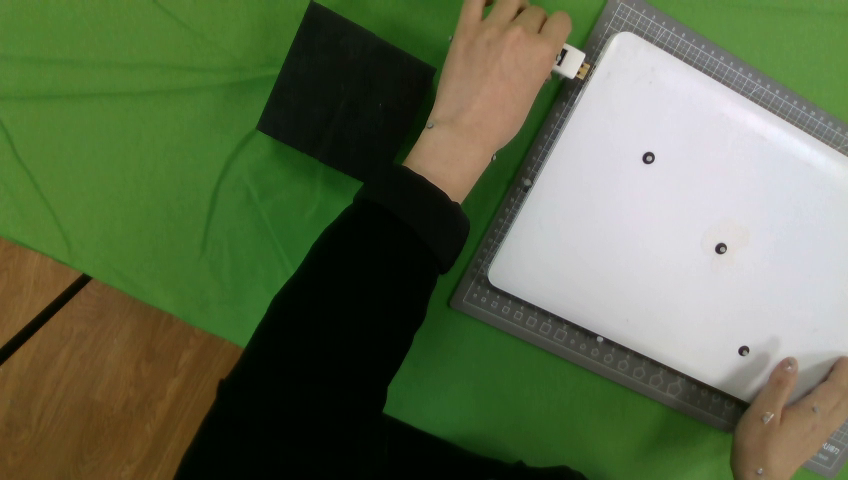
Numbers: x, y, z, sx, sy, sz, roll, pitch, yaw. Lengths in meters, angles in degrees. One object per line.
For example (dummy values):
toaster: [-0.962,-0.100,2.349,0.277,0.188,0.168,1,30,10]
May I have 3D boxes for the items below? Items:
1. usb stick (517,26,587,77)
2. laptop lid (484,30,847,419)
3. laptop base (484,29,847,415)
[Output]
usb stick: [0.105,-0.145,0.475,0.059,0.027,0.021,20,105,-21]
laptop lid: [0.256,0.005,0.533,0.358,0.013,0.242,26,103,-11]
laptop base: [0.256,0.000,0.544,0.356,0.023,0.236,25,105,-11]
